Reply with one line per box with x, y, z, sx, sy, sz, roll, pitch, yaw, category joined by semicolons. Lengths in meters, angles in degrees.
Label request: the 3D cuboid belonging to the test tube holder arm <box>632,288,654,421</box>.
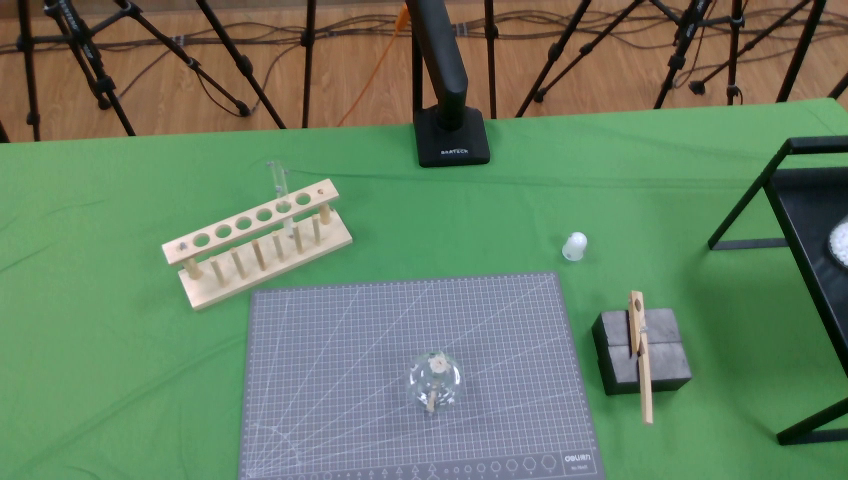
0.283;0.145;0.787;0.013;0.015;0.177;3;60;0;test tube holder arm

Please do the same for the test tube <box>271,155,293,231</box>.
-0.195;-0.061;0.844;0.017;0.151;0.017;2;53;-3;test tube

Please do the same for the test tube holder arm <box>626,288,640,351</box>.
0.280;0.106;0.810;0.010;0.015;0.087;5;60;1;test tube holder arm

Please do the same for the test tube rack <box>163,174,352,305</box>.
-0.229;-0.002;0.864;0.242;0.086;0.066;-25;63;-17;test tube rack

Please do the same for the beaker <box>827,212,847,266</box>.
0.522;-0.016;0.693;0.084;0.101;0.073;-15;60;-11;beaker

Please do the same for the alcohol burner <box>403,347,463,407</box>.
0.013;0.166;0.757;0.078;0.120;0.077;2;60;-3;alcohol burner

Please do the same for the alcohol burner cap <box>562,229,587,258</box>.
0.228;0.003;0.912;0.034;0.048;0.033;1;58;-1;alcohol burner cap
